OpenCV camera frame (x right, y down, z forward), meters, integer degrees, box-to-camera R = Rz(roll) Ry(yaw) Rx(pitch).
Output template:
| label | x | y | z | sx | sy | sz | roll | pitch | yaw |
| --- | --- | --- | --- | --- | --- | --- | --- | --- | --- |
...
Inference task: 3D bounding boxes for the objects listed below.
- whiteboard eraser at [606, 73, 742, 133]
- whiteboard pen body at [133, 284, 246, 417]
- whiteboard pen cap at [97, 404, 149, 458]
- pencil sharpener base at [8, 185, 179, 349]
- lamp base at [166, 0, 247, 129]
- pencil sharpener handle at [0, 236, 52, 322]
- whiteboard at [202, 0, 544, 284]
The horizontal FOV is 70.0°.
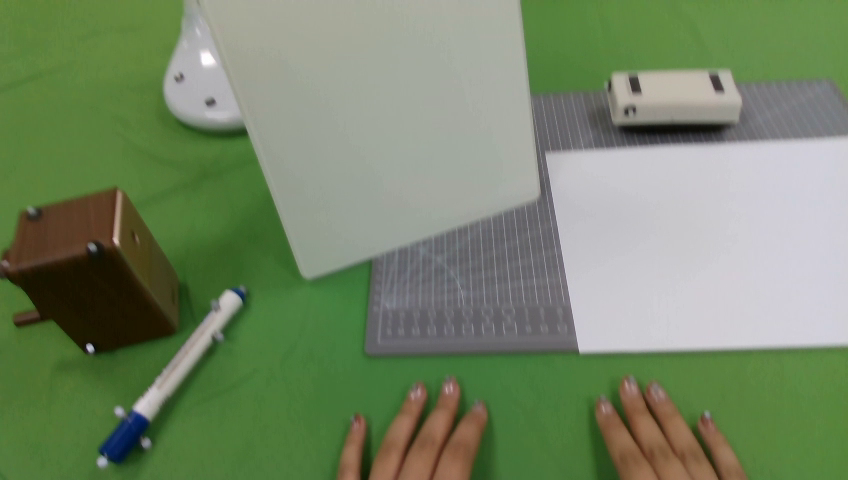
| label | x | y | z | sx | sy | sz | roll | pitch | yaw |
| --- | --- | --- | --- | --- | --- | --- | --- | --- | --- |
| whiteboard eraser | 0.232 | -0.128 | 0.570 | 0.112 | 0.042 | 0.055 | 1 | 51 | 6 |
| whiteboard pen body | -0.175 | 0.087 | 0.440 | 0.017 | 0.017 | 0.140 | 16 | 51 | 19 |
| whiteboard pen cap | -0.199 | 0.126 | 0.404 | 0.018 | 0.018 | 0.033 | 16 | 49 | 18 |
| pencil sharpener base | -0.236 | 0.023 | 0.441 | 0.077 | 0.108 | 0.060 | -14 | 50 | -6 |
| lamp base | -0.213 | -0.230 | 0.607 | 0.177 | 0.182 | 0.160 | 32 | 59 | 31 |
| pencil sharpener handle | -0.285 | 0.030 | 0.424 | 0.031 | 0.068 | 0.035 | -14 | 38 | -6 |
| whiteboard | -0.045 | -0.157 | 0.487 | 0.217 | 0.308 | 0.142 | -19 | 31 | -10 |
